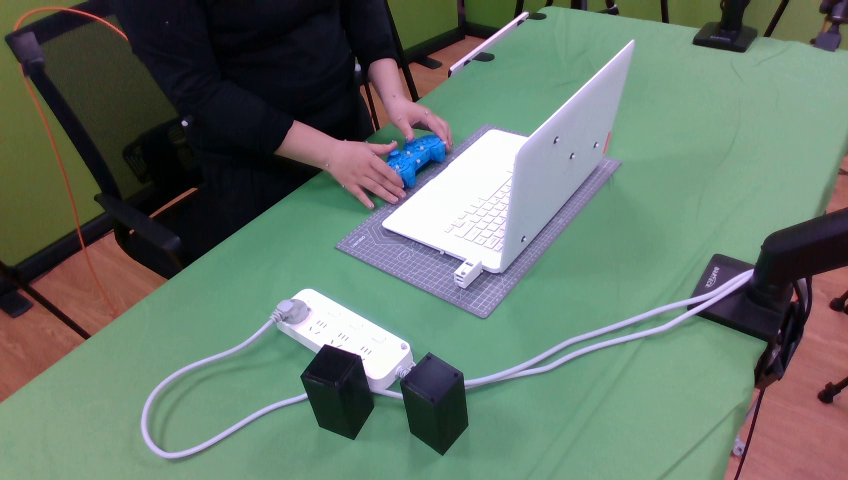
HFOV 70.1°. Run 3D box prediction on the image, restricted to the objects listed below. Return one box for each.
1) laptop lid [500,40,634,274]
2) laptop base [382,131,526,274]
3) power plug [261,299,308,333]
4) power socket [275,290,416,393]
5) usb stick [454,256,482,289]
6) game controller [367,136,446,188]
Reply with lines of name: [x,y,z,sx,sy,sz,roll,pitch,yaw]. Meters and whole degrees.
laptop lid: [0.218,-0.128,0.906,0.013,0.242,0.358,28,50,25]
laptop base: [0.123,-0.081,1.049,0.233,0.023,0.355,20,47,33]
power plug: [-0.193,0.110,0.830,0.073,0.053,0.035,-36,48,-23]
power socket: [-0.114,0.132,0.821,0.225,0.033,0.072,24,48,31]
usb stick: [0.069,0.044,0.891,0.021,0.027,0.059,22,44,32]
game controller: [-0.030,-0.150,1.124,0.096,0.052,0.155,19,47,34]
